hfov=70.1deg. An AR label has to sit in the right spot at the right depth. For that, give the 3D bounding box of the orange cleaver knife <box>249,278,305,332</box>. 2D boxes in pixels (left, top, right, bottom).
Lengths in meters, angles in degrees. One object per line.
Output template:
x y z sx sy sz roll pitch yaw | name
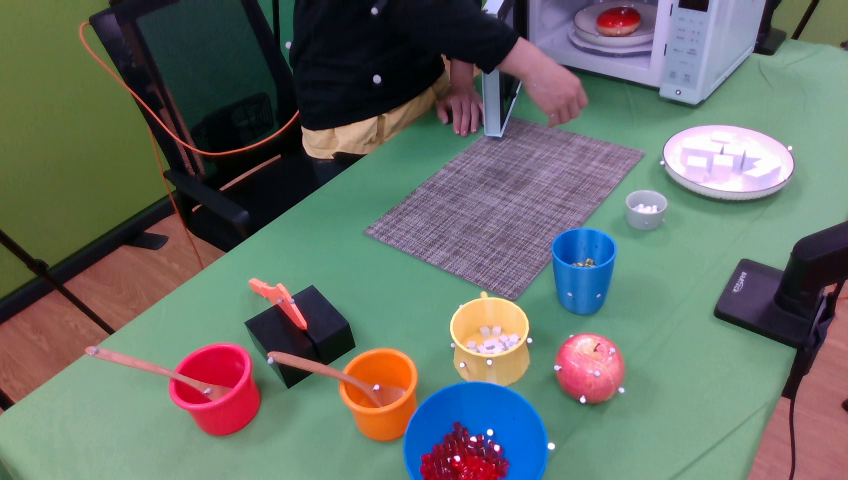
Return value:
-0.210 0.089 0.855 0.012 0.077 0.210 -28 15 -24 | orange cleaver knife

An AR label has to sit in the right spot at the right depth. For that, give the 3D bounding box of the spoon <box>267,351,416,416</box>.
-0.091 0.163 0.699 0.021 0.195 0.041 -44 30 27 | spoon

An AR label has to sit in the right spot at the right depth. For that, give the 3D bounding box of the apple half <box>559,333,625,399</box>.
0.209 0.147 0.730 0.080 0.075 0.053 26 48 38 | apple half

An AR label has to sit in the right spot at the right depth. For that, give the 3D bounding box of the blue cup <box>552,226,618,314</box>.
0.218 0.047 0.825 0.092 0.100 0.092 -6 40 5 | blue cup

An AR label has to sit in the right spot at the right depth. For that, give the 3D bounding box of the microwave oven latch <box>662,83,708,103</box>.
0.518 -0.296 1.204 0.078 0.029 0.030 29 53 36 | microwave oven latch

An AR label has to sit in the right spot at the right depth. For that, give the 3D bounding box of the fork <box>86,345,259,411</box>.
-0.298 0.167 0.728 0.209 0.018 0.028 28 47 -23 | fork

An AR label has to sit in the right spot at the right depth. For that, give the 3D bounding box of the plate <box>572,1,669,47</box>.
0.440 -0.484 1.365 0.209 0.038 0.208 -5 41 5 | plate

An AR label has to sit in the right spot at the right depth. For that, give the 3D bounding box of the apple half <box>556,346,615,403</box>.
0.181 0.167 0.709 0.080 0.081 0.033 29 50 35 | apple half

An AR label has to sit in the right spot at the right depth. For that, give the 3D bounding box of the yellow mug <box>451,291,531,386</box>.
0.086 0.120 0.786 0.100 0.064 0.130 -7 39 2 | yellow mug

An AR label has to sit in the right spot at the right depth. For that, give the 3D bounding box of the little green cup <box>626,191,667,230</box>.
0.352 -0.046 0.963 0.061 0.039 0.061 -4 40 4 | little green cup

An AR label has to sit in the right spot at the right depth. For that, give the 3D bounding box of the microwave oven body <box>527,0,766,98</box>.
0.472 -0.513 1.317 0.438 0.261 0.327 26 51 34 | microwave oven body

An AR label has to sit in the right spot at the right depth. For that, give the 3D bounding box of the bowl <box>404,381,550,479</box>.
0.058 0.235 0.645 0.151 0.077 0.150 -4 39 4 | bowl

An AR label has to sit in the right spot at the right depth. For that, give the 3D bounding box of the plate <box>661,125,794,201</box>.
0.513 -0.128 1.035 0.207 0.039 0.206 -4 40 4 | plate

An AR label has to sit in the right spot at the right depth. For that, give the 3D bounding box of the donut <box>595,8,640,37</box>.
0.434 -0.489 1.359 0.099 0.048 0.098 -9 36 7 | donut

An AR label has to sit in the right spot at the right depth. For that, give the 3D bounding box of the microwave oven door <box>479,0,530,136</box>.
0.170 -0.408 1.232 0.039 0.245 0.355 6 42 16 | microwave oven door
